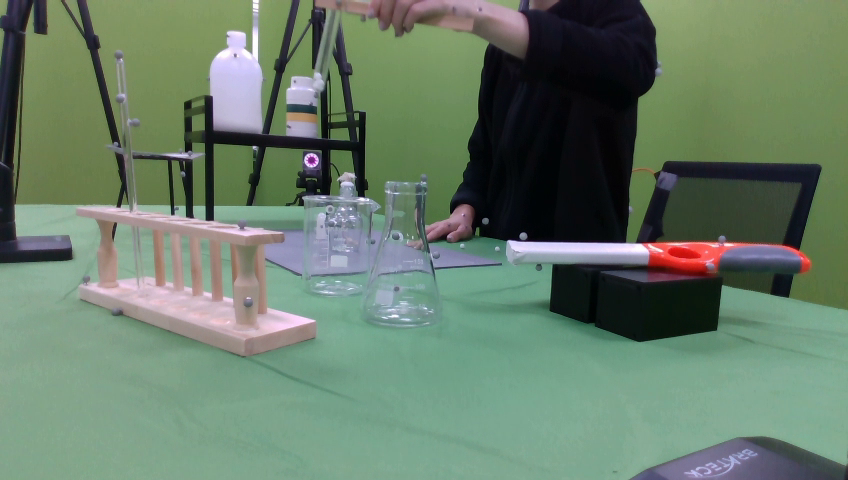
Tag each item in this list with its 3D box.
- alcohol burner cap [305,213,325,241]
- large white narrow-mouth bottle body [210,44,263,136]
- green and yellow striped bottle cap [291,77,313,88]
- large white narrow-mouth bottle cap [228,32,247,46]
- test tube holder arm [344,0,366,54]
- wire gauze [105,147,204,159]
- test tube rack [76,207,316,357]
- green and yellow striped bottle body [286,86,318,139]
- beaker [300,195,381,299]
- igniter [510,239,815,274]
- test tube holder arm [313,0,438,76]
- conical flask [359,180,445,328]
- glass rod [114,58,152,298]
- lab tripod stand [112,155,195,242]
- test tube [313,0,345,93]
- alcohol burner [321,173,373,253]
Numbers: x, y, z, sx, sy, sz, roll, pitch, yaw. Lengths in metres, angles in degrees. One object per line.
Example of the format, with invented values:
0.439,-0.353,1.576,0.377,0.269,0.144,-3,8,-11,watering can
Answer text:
-0.185,-0.023,1.027,0.034,0.048,0.034,2,6,0,alcohol burner cap
-0.369,-0.305,1.194,0.102,0.194,0.102,3,8,0,large white narrow-mouth bottle body
-0.249,-0.321,1.237,0.045,0.020,0.045,3,5,0,green and yellow striped bottle cap
-0.364,-0.390,1.180,0.038,0.024,0.037,3,8,0,large white narrow-mouth bottle cap
-0.079,-0.254,0.679,0.010,0.088,0.015,-27,27,-27,test tube holder arm
-0.407,-0.131,0.928,0.125,0.011,0.121,2,6,-11,wire gauze
-0.196,0.023,0.500,0.241,0.085,0.067,8,9,36,test tube rack
-0.251,-0.270,1.245,0.063,0.119,0.063,2,7,0,green and yellow striped bottle body
-0.087,0.006,0.626,0.084,0.100,0.074,1,8,-17,beaker
0.220,0.015,0.565,0.277,0.025,0.057,2,16,-1,igniter
-0.051,-0.236,0.706,0.179,0.013,0.015,20,-3,-39,test tube holder arm
-0.017,0.010,0.522,0.075,0.122,0.075,2,7,0,conical flask
-0.236,-0.044,0.493,0.008,0.199,0.008,0,16,0,glass rod
-0.405,-0.064,0.931,0.148,0.131,0.148,1,6,0,lab tripod stand
-0.105,-0.242,0.693,0.017,0.150,0.017,15,21,-6,test tube
-0.115,-0.041,0.905,0.078,0.119,0.078,1,6,0,alcohol burner
